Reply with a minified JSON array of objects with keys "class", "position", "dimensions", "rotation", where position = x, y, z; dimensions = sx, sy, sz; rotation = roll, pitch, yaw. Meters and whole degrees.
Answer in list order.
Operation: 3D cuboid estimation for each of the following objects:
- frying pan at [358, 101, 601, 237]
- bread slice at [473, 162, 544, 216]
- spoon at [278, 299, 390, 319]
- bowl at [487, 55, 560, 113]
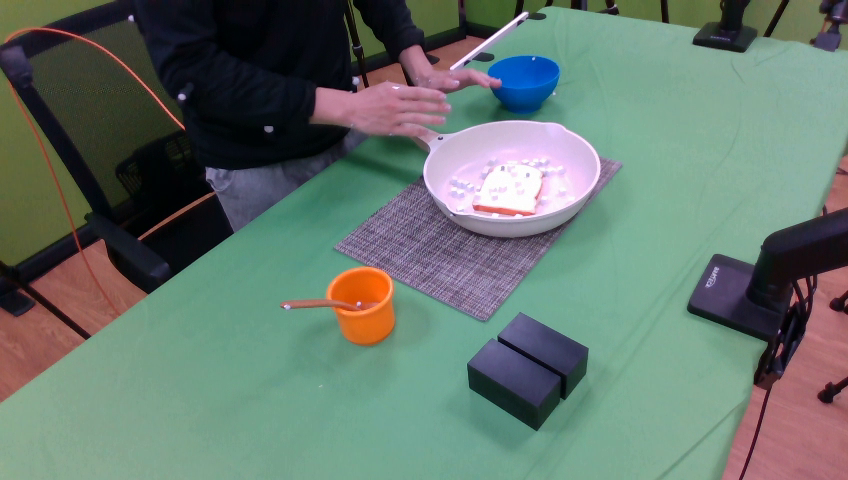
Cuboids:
[{"class":"frying pan","position":[0.067,-0.153,1.067],"dimensions":[0.484,0.103,0.308],"rotation":[32,52,26]},{"class":"bread slice","position":[0.150,-0.089,1.041],"dimensions":[0.106,0.018,0.134],"rotation":[7,44,16]},{"class":"spoon","position":[-0.113,0.086,0.787],"dimensions":[0.041,0.021,0.195],"rotation":[29,8,36]},{"class":"bowl","position":[0.208,-0.319,1.266],"dimensions":[0.151,0.077,0.150],"rotation":[-4,41,4]}]
